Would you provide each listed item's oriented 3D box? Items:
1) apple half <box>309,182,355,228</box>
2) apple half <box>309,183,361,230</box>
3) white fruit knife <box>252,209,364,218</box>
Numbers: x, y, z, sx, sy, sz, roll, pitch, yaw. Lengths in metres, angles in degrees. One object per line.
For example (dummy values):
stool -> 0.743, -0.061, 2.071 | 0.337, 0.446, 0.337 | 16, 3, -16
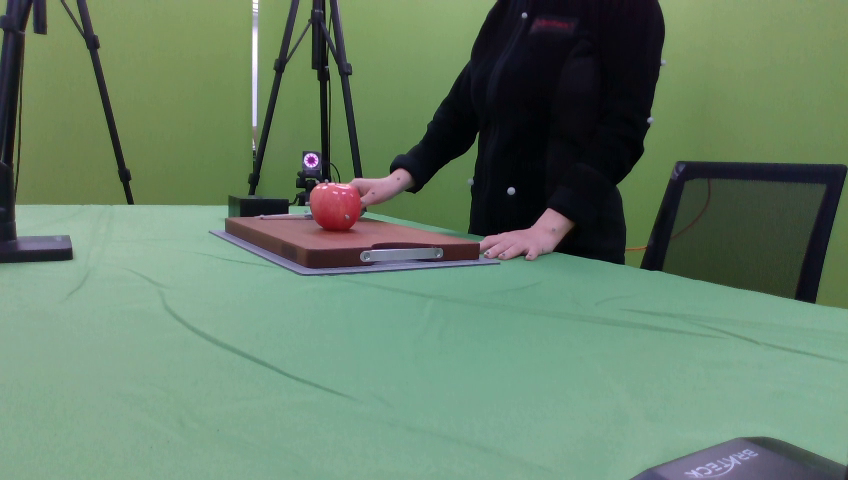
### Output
apple half -> -0.152, -0.058, 0.978 | 0.082, 0.081, 0.032 | -2, 11, -27
apple half -> -0.135, -0.052, 0.945 | 0.081, 0.074, 0.053 | 2, 11, -29
white fruit knife -> -0.209, -0.047, 1.106 | 0.208, 0.016, 0.027 | -3, -3, -30
